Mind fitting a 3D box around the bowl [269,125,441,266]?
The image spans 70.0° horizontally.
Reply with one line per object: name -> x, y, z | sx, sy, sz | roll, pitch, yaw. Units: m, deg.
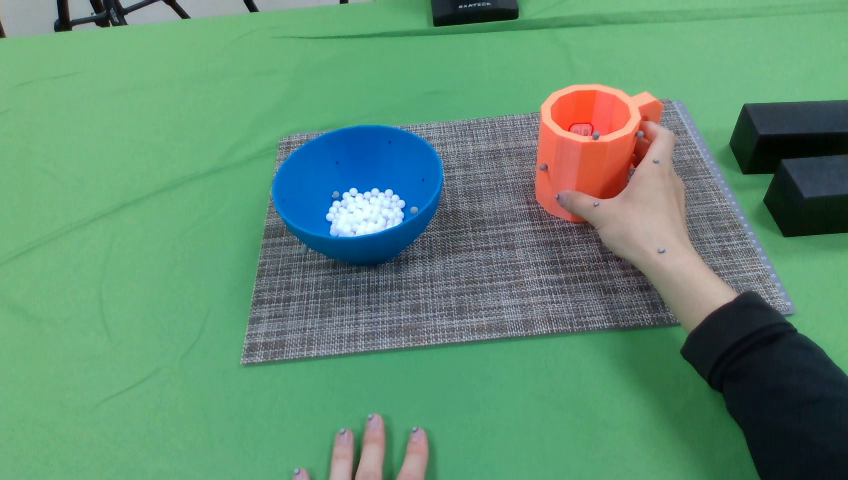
bowl -> -0.056, -0.029, 0.554 | 0.151, 0.077, 0.150 | -3, 47, 4

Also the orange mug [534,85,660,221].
orange mug -> 0.164, -0.089, 0.572 | 0.126, 0.102, 0.082 | -26, 50, -11
